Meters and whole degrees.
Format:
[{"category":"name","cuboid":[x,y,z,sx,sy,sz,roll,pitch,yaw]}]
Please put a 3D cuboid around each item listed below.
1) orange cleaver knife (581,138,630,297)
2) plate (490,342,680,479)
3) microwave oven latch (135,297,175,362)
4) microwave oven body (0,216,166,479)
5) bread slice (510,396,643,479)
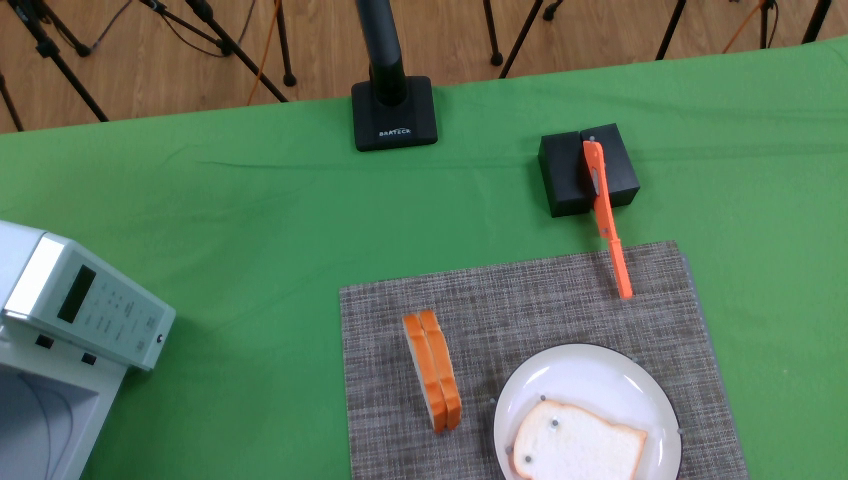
[{"category":"orange cleaver knife","cuboid":[0.230,-0.032,0.778,0.012,0.077,0.211,-11,88,0]},{"category":"plate","cuboid":[0.179,0.221,0.689,0.207,0.039,0.206,-2,66,5]},{"category":"microwave oven latch","cuboid":[-0.338,0.109,0.751,0.030,0.030,0.078,14,70,8]},{"category":"microwave oven body","cuboid":[-0.532,0.197,0.619,0.325,0.262,0.439,13,70,7]},{"category":"bread slice","cuboid":[0.165,0.239,0.681,0.134,0.018,0.106,18,66,14]}]
